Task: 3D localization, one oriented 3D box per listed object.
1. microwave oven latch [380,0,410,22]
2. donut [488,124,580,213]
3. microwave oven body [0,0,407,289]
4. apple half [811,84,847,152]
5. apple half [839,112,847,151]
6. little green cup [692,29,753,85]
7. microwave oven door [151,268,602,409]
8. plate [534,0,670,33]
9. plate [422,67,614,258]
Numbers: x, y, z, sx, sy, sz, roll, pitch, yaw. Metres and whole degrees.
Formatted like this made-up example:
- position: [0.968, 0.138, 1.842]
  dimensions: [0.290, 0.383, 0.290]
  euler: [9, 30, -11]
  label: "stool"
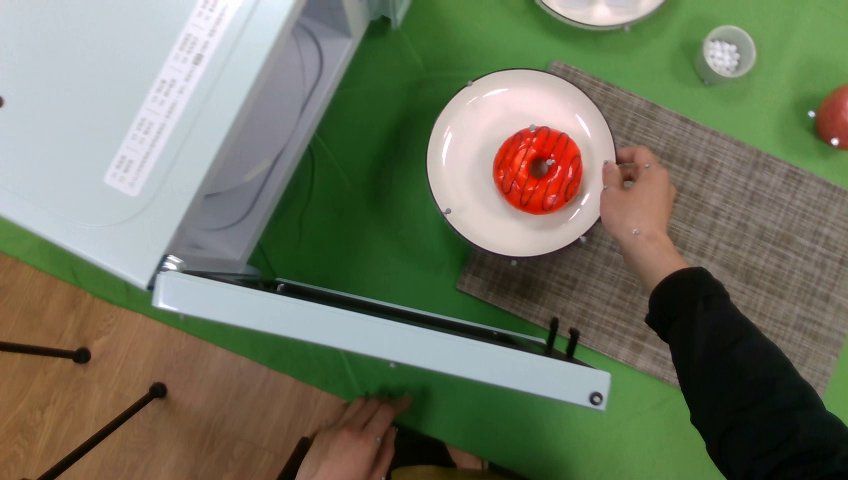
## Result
- position: [-0.023, -0.295, 0.698]
  dimensions: [0.030, 0.029, 0.079]
  euler: [30, 87, 0]
  label: "microwave oven latch"
- position: [0.119, -0.077, 0.656]
  dimensions: [0.099, 0.048, 0.099]
  euler: [0, 88, 1]
  label: "donut"
- position: [-0.234, -0.210, 0.592]
  dimensions: [0.326, 0.260, 0.441]
  euler: [27, 87, 0]
  label: "microwave oven body"
- position: [0.487, -0.146, 0.706]
  dimensions: [0.053, 0.075, 0.081]
  euler: [16, 90, 4]
  label: "apple half"
- position: [0.525, -0.136, 0.705]
  dimensions: [0.033, 0.081, 0.081]
  euler: [15, 86, 5]
  label: "apple half"
- position: [0.354, -0.216, 0.723]
  dimensions: [0.061, 0.038, 0.061]
  euler: [0, 86, -1]
  label: "little green cup"
- position: [-0.036, 0.083, 0.577]
  dimensions: [0.356, 0.244, 0.039]
  euler: [13, 86, -1]
  label: "microwave oven door"
- position: [0.209, -0.346, 0.726]
  dimensions: [0.208, 0.039, 0.207]
  euler: [0, 87, -2]
  label: "plate"
- position: [0.101, -0.084, 0.667]
  dimensions: [0.209, 0.038, 0.208]
  euler: [0, 86, 0]
  label: "plate"
